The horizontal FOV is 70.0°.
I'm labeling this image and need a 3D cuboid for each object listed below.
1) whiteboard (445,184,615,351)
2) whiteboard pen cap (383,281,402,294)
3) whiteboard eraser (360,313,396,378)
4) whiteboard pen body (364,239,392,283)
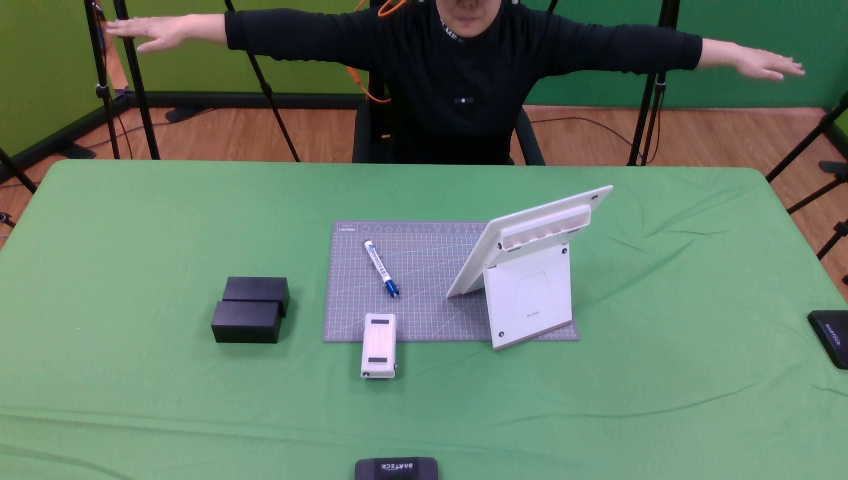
[{"bbox_3d":[0.186,0.065,0.989,0.217,0.306,0.143,-15,68,-18],"label":"whiteboard"},{"bbox_3d":[-0.057,0.088,1.104,0.033,0.018,0.018,18,48,11],"label":"whiteboard pen cap"},{"bbox_3d":[-0.075,0.176,1.006,0.055,0.042,0.112,3,50,-4],"label":"whiteboard eraser"},{"bbox_3d":[-0.084,0.048,1.143,0.017,0.017,0.140,-16,49,-19],"label":"whiteboard pen body"}]
